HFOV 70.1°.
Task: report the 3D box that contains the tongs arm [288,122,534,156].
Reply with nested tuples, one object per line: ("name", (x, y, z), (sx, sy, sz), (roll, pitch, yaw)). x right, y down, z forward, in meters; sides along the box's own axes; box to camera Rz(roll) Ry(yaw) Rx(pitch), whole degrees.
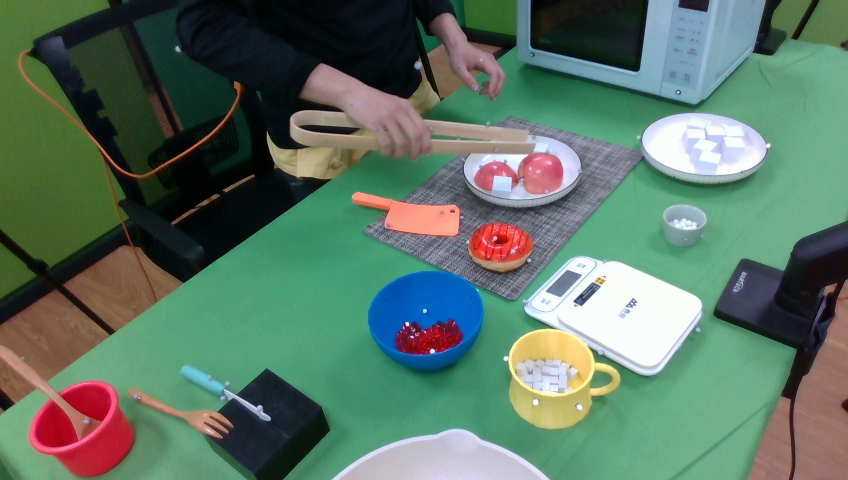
("tongs arm", (-0.012, -0.152, 0.936), (0.389, 0.028, 0.028), (1, 50, -14))

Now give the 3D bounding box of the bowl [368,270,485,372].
("bowl", (0.007, 0.118, 0.791), (0.151, 0.077, 0.150), (-4, 40, 4))

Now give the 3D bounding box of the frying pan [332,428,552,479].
("frying pan", (-0.089, 0.306, 0.564), (0.487, 0.103, 0.306), (10, 41, 7))

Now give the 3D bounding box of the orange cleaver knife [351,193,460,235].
("orange cleaver knife", (-0.036, -0.044, 1.029), (0.210, 0.012, 0.077), (10, 48, 18))

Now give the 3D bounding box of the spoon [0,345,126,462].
("spoon", (-0.434, 0.192, 0.720), (0.194, 0.021, 0.042), (47, 53, -7))

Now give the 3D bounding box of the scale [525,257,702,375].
("scale", (0.254, 0.091, 0.821), (0.199, 0.032, 0.149), (28, 51, 35))

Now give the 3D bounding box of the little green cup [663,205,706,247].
("little green cup", (0.396, -0.020, 0.926), (0.061, 0.039, 0.061), (-4, 40, 4))

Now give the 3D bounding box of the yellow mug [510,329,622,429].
("yellow mug", (0.168, 0.164, 0.721), (0.130, 0.064, 0.099), (0, 40, 8))

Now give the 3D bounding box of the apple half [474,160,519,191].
("apple half", (0.131, -0.120, 1.068), (0.081, 0.033, 0.081), (-3, 36, 3))

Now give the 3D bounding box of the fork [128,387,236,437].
("fork", (-0.305, 0.207, 0.744), (0.206, 0.019, 0.028), (3, 41, 36))

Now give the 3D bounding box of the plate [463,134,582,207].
("plate", (0.173, -0.119, 1.070), (0.209, 0.038, 0.208), (-4, 40, 4))

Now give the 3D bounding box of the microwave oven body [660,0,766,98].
("microwave oven body", (0.472, -0.513, 1.317), (0.438, 0.261, 0.327), (26, 51, 34))

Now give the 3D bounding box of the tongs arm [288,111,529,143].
("tongs arm", (-0.015, -0.169, 0.952), (0.386, 0.026, 0.050), (4, 46, -11))

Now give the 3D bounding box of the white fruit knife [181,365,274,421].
("white fruit knife", (-0.245, 0.187, 0.747), (0.205, 0.027, 0.016), (9, 41, 40))

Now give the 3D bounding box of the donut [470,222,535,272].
("donut", (0.119, 0.009, 0.923), (0.099, 0.048, 0.098), (-3, 39, 3))

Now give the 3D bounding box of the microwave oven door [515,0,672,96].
("microwave oven door", (0.343, -0.454, 1.259), (0.353, 0.245, 0.039), (26, 51, 33))

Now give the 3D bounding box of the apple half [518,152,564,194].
("apple half", (0.204, -0.124, 1.048), (0.075, 0.053, 0.080), (-6, 40, -2))

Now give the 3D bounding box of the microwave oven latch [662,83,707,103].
("microwave oven latch", (0.517, -0.296, 1.204), (0.078, 0.029, 0.030), (27, 52, 35))

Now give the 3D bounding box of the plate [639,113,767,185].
("plate", (0.489, -0.157, 1.074), (0.207, 0.039, 0.206), (-4, 40, 4))
